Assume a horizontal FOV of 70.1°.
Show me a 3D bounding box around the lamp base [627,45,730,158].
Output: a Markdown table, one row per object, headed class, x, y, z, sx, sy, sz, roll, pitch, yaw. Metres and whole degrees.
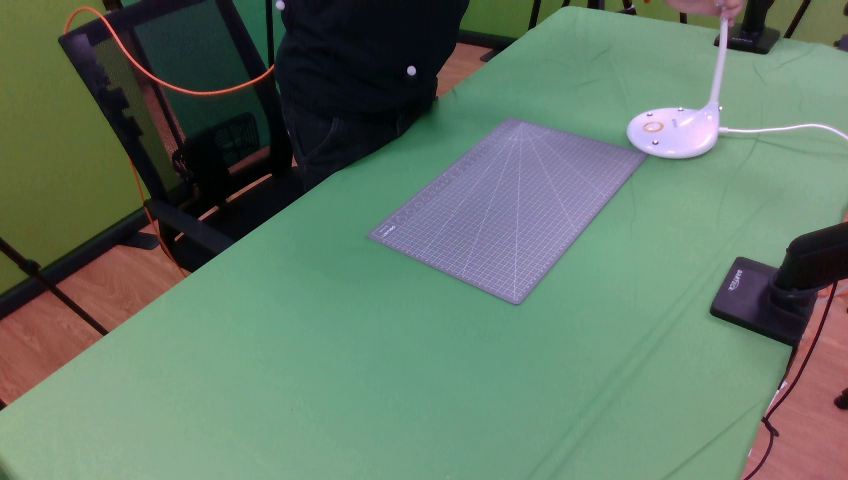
| class | x | y | z | sx | sy | sz | roll | pitch | yaw |
| --- | --- | --- | --- | --- | --- | --- | --- | --- | --- |
| lamp base | 0.468 | -0.262 | 1.085 | 0.179 | 0.181 | 0.159 | -4 | 41 | 0 |
